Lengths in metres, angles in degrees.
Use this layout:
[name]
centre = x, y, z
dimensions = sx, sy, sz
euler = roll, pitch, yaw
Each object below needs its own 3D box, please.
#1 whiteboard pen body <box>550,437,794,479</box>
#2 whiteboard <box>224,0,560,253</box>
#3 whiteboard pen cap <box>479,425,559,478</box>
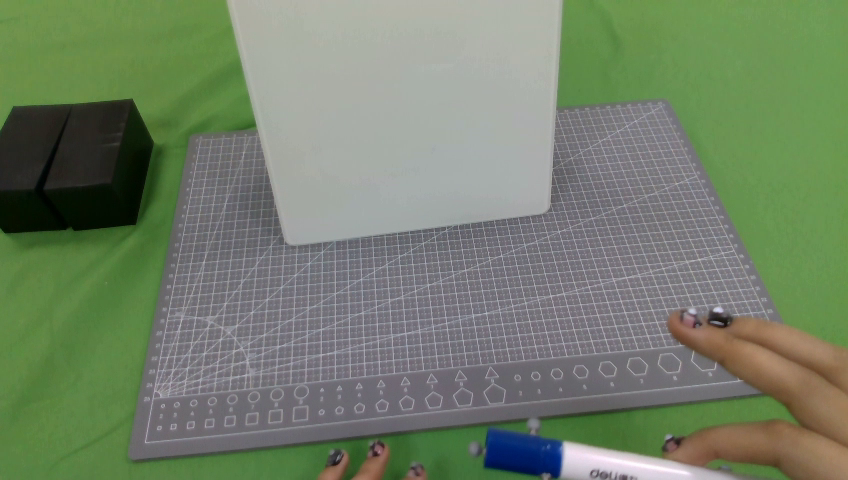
[whiteboard pen body]
centre = 0.099, 0.098, 0.252
dimensions = 0.140, 0.017, 0.017
euler = 10, 53, 4
[whiteboard]
centre = -0.022, -0.168, 0.457
dimensions = 0.217, 0.308, 0.142
euler = -7, 33, -4
[whiteboard pen cap]
centre = 0.040, 0.090, 0.256
dimensions = 0.033, 0.018, 0.018
euler = 10, 53, 4
